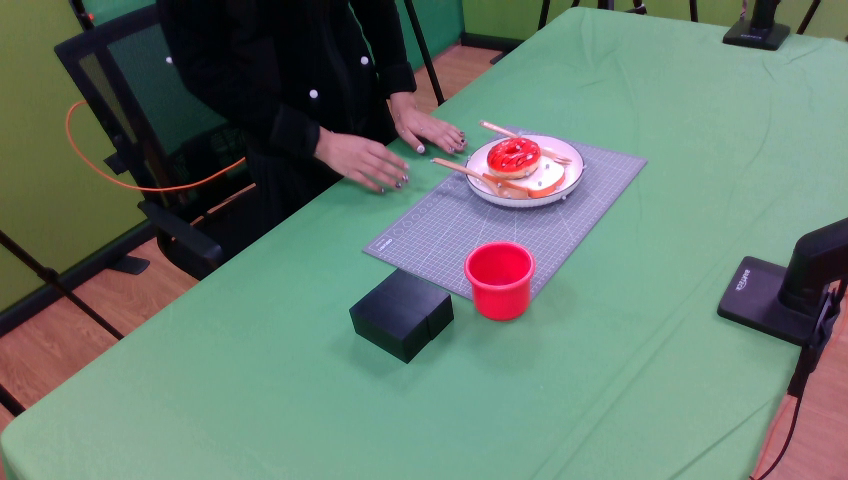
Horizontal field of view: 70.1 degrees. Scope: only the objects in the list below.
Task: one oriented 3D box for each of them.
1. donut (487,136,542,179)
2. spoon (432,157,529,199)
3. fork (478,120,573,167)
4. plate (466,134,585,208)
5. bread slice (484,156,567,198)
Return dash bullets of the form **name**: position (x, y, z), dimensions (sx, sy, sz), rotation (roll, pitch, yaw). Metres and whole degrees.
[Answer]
- **donut**: position (0.159, -0.147, 1.068), dimensions (0.099, 0.048, 0.098), rotation (-9, 39, 8)
- **spoon**: position (0.095, -0.108, 1.055), dimensions (0.192, 0.022, 0.042), rotation (30, 49, 21)
- **fork**: position (0.185, -0.183, 1.130), dimensions (0.206, 0.019, 0.028), rotation (33, 69, 24)
- **plate**: position (0.178, -0.120, 1.075), dimensions (0.209, 0.038, 0.208), rotation (-5, 40, 5)
- **bread slice**: position (0.187, -0.120, 1.077), dimensions (0.130, 0.019, 0.105), rotation (27, 53, 37)
